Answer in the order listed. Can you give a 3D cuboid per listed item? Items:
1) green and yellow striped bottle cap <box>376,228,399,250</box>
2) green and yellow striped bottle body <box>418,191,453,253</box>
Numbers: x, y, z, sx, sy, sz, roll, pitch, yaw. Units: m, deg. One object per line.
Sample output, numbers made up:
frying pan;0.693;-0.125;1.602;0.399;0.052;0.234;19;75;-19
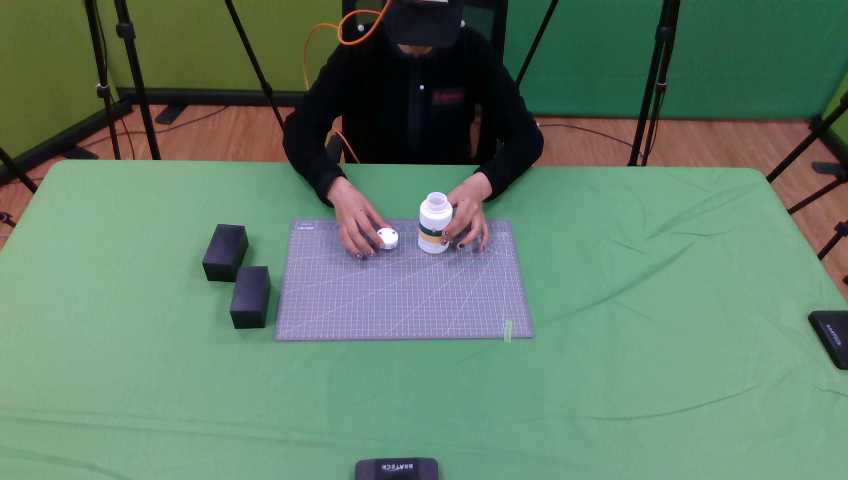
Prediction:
green and yellow striped bottle cap;-0.072;-0.002;1.183;0.045;0.020;0.045;6;44;-5
green and yellow striped bottle body;0.022;-0.036;1.160;0.063;0.120;0.063;2;46;-2
